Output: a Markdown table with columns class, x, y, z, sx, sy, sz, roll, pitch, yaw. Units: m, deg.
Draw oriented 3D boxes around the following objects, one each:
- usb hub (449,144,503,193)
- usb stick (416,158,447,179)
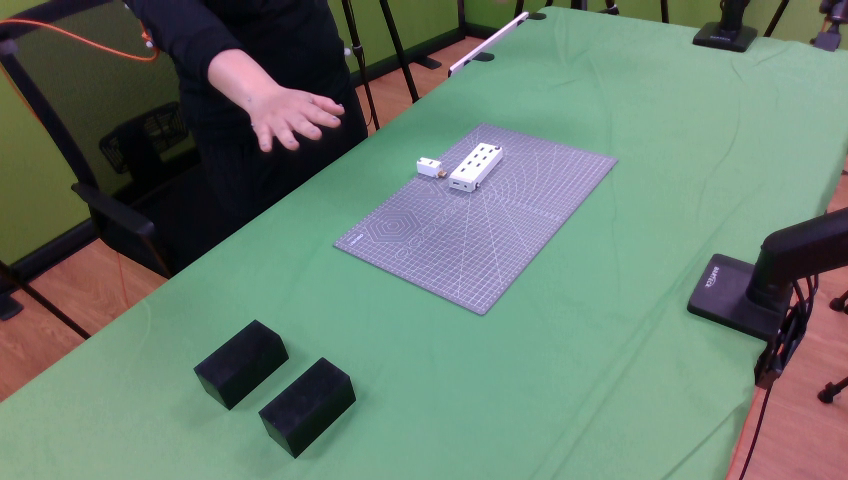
| class | x | y | z | sx | sy | sz | roll | pitch | yaw |
| --- | --- | --- | --- | --- | --- | --- | --- | --- | --- |
| usb hub | 0.096 | -0.132 | 1.105 | 0.049 | 0.025 | 0.125 | 18 | 47 | 27 |
| usb stick | 0.016 | -0.130 | 1.114 | 0.059 | 0.027 | 0.021 | 22 | 44 | 25 |
